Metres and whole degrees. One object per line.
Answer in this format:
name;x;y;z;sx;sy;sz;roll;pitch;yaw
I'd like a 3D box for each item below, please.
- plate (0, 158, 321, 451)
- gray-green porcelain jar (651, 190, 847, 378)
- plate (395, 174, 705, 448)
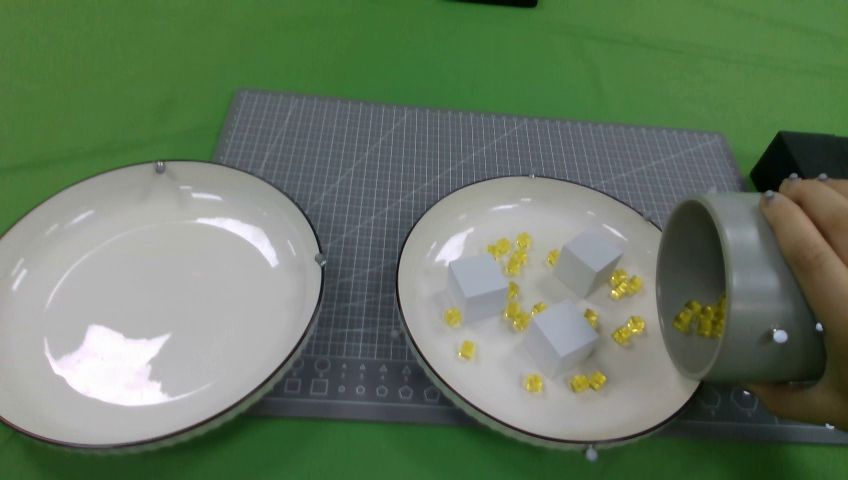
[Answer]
plate;-0.168;0.033;0.379;0.209;0.038;0.207;3;51;-3
gray-green porcelain jar;0.209;0.025;0.343;0.126;0.107;0.105;1;51;2
plate;0.083;0.041;0.407;0.208;0.039;0.205;4;51;-4
